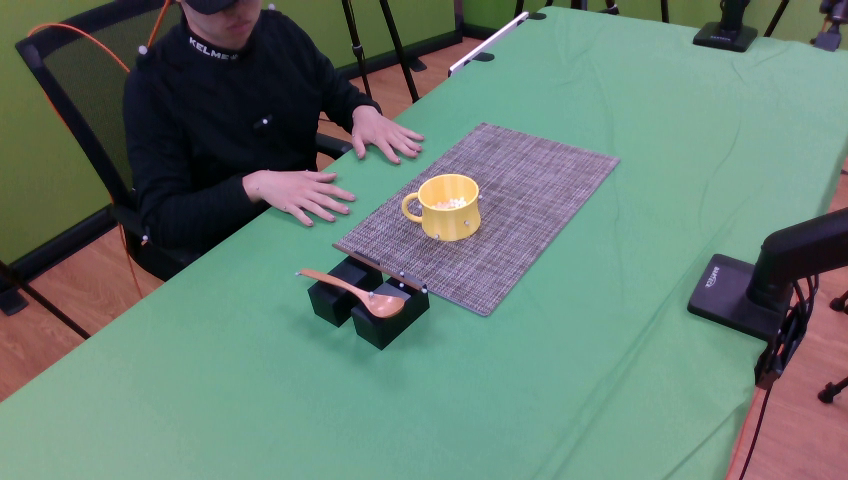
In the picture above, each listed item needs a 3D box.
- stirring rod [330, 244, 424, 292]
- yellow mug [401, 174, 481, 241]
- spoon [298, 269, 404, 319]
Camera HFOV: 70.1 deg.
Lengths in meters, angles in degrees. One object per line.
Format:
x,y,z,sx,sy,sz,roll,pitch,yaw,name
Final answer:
-0.070,0.038,0.863,0.175,0.006,0.014,24,12,31,stirring rod
0.026,-0.054,0.988,0.130,0.064,0.099,-1,40,8,yellow mug
-0.106,0.068,0.831,0.192,0.022,0.042,21,49,32,spoon
